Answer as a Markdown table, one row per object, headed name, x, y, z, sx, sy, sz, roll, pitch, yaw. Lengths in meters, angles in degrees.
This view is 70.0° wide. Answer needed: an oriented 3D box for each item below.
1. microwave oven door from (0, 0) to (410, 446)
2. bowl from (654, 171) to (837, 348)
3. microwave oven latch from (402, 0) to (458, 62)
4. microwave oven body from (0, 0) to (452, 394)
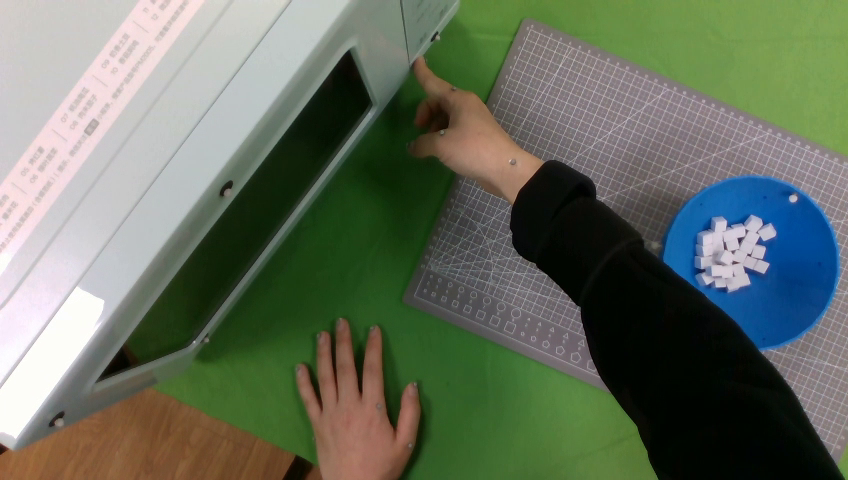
| name | x | y | z | sx | sy | sz | roll | pitch | yaw |
| --- | --- | --- | --- | --- | --- | --- | --- | --- | --- |
| microwave oven door | -0.136 | -0.030 | 0.454 | 0.039 | 0.244 | 0.355 | 37 | 90 | 1 |
| bowl | 0.274 | 0.017 | 0.548 | 0.151 | 0.077 | 0.151 | 0 | 90 | 1 |
| microwave oven latch | 0.001 | -0.204 | 0.553 | 0.030 | 0.029 | 0.079 | 40 | 91 | 0 |
| microwave oven body | -0.226 | -0.152 | 0.458 | 0.326 | 0.260 | 0.441 | 37 | 91 | 0 |
